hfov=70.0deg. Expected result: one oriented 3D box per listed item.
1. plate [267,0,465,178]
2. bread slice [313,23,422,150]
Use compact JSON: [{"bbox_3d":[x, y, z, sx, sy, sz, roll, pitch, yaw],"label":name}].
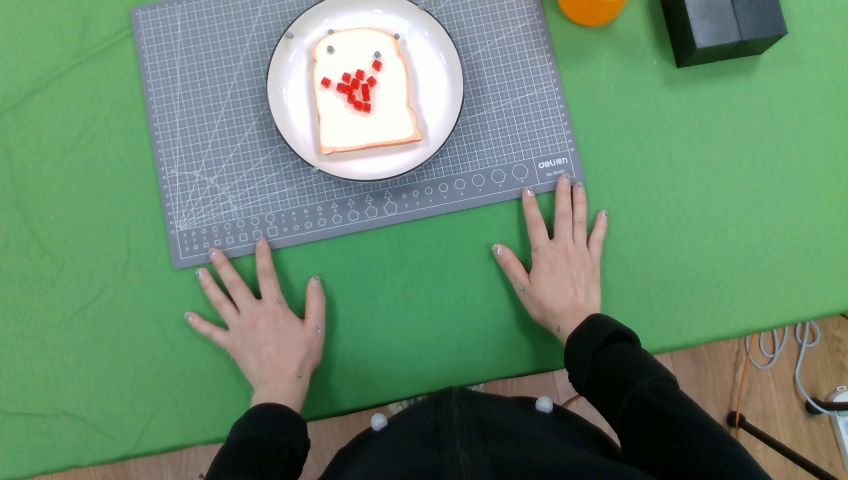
[{"bbox_3d":[-0.060,-0.165,0.649,0.209,0.038,0.208,0,83,-1],"label":"plate"},{"bbox_3d":[-0.068,-0.165,0.649,0.107,0.018,0.134,-12,83,-4],"label":"bread slice"}]
